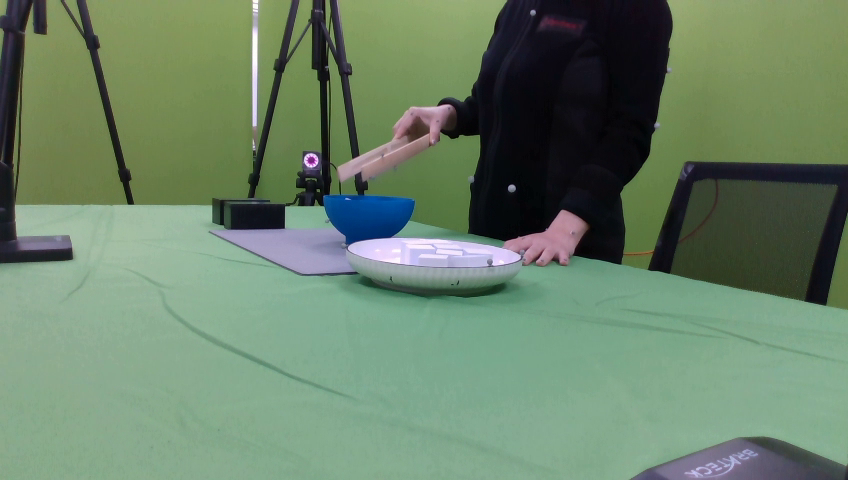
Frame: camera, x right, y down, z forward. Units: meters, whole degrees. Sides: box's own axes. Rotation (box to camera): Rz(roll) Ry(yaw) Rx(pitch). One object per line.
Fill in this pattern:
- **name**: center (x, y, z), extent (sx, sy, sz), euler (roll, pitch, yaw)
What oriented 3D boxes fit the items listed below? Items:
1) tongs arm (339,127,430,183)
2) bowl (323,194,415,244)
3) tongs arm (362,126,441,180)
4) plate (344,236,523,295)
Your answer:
- **tongs arm**: center (-0.064, -0.165, 1.122), extent (0.028, 0.028, 0.388), euler (-9, 16, 23)
- **bowl**: center (-0.091, -0.032, 0.987), extent (0.151, 0.077, 0.151), euler (2, 7, 0)
- **tongs arm**: center (-0.039, -0.167, 1.112), extent (0.050, 0.026, 0.386), euler (-4, 17, 25)
- **plate**: center (0.010, 0.030, 0.707), extent (0.208, 0.039, 0.207), euler (3, 8, 0)
